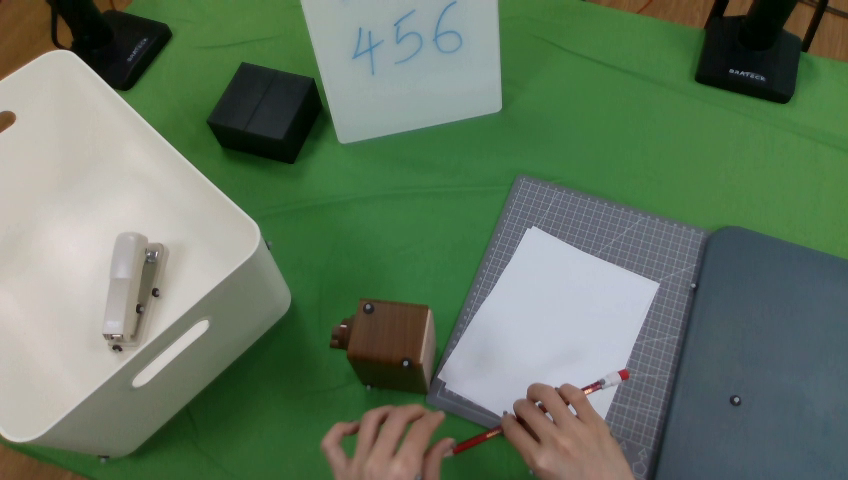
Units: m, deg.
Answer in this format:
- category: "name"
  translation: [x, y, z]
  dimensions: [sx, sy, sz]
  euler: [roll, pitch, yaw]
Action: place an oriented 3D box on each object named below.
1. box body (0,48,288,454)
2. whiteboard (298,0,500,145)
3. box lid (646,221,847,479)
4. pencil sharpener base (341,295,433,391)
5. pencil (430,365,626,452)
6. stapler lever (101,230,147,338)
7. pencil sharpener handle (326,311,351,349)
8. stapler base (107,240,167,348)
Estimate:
- category: "box body"
  translation: [-0.348, 0.008, 0.626]
  dimensions: [0.361, 0.161, 0.254]
  euler: [39, 71, 20]
- category: "whiteboard"
  translation: [-0.036, -0.300, 0.722]
  dimensions: [0.217, 0.308, 0.142]
  euler: [-12, 43, -3]
- category: "box lid"
  translation: [0.377, 0.164, 0.595]
  dimensions: [0.262, 0.015, 0.369]
  euler: [19, 66, 11]
- category: "pencil sharpener base"
  translation: [-0.034, 0.102, 0.594]
  dimensions: [0.076, 0.108, 0.061]
  euler: [7, 64, 7]
- category: "pencil"
  translation: [0.095, 0.154, 0.551]
  dimensions: [0.194, 0.012, 0.012]
  euler: [-22, 63, -4]
- category: "stapler lever"
  translation: [-0.322, 0.045, 0.649]
  dimensions: [0.027, 0.040, 0.117]
  euler: [-1, 65, 5]
- category: "pencil sharpener handle"
  translation: [-0.085, 0.091, 0.588]
  dimensions: [0.030, 0.068, 0.035]
  euler: [7, 65, 7]
- category: "stapler base"
  translation: [-0.321, 0.055, 0.673]
  dimensions: [0.041, 0.024, 0.129]
  euler: [-1, 65, 5]
